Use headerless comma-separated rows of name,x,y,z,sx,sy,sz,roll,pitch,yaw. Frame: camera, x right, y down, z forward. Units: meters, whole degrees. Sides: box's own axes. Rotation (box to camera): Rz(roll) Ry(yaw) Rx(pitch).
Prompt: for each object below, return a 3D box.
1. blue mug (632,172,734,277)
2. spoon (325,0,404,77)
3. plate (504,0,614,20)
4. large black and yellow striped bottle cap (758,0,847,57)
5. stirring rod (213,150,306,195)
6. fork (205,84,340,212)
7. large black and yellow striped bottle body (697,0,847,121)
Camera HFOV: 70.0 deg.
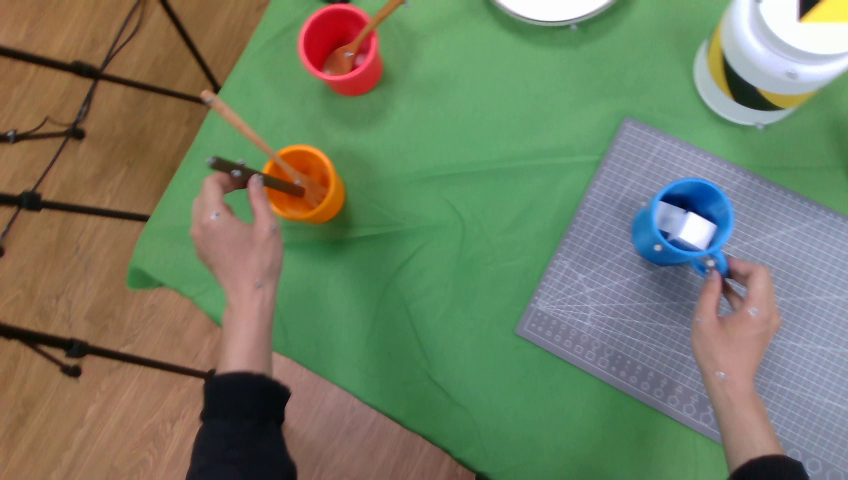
blue mug,0.291,-0.009,0.669,0.082,0.106,0.116,-33,81,2
spoon,-0.064,-0.254,0.725,0.193,0.022,0.041,-28,73,48
plate,0.173,-0.372,0.762,0.207,0.039,0.207,-1,84,7
large black and yellow striped bottle cap,0.372,-0.228,0.561,0.115,0.019,0.114,-1,85,7
stirring rod,-0.170,-0.070,0.648,0.006,0.177,0.014,18,90,17
fork,-0.176,-0.106,0.720,0.028,0.018,0.209,-44,123,1
large black and yellow striped bottle body,0.383,-0.216,0.643,0.130,0.184,0.130,-1,83,7
